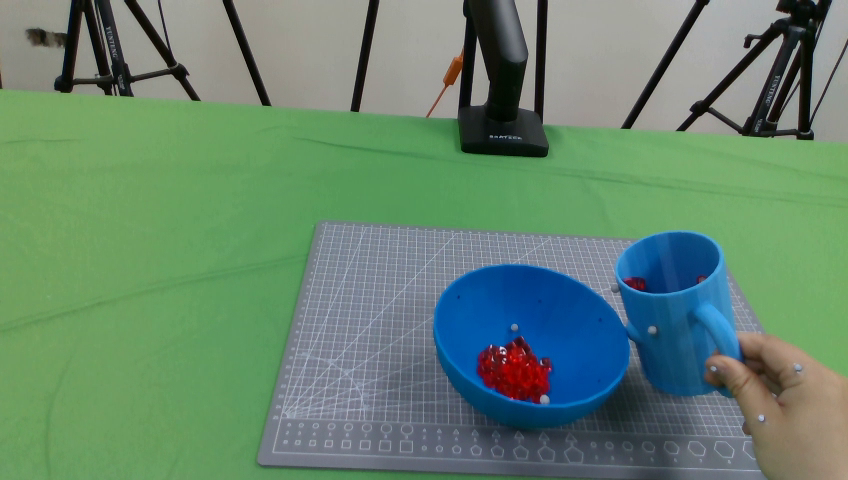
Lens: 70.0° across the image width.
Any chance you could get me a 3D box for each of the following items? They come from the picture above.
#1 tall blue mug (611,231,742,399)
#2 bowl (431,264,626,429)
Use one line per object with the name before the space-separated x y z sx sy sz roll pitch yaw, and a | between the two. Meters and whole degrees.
tall blue mug | 0.206 0.062 0.465 0.078 0.109 0.106 -39 33 -23
bowl | 0.076 0.096 0.485 0.151 0.077 0.150 4 38 -3
